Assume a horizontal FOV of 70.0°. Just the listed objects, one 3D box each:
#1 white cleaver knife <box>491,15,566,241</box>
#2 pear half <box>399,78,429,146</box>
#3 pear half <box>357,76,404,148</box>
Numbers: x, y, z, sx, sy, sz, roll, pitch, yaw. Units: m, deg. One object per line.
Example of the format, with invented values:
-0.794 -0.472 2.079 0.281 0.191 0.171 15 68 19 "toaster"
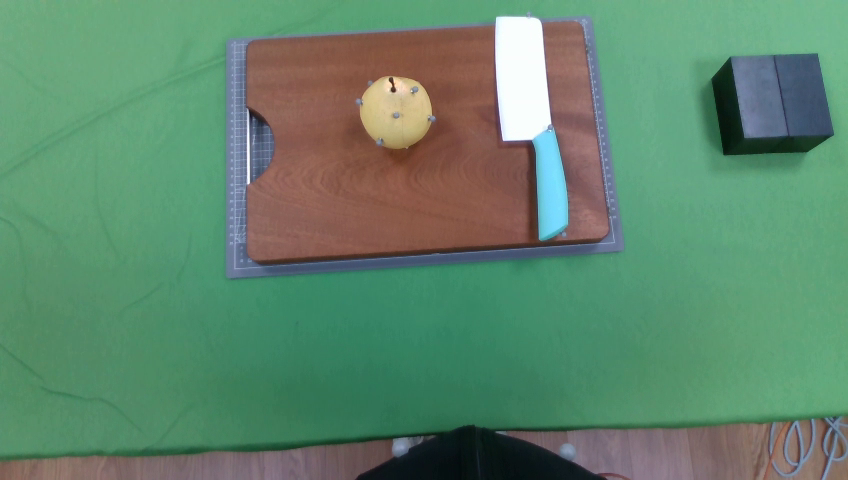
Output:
0.115 -0.134 0.690 0.066 0.022 0.284 -5 72 4 "white cleaver knife"
-0.010 -0.139 0.651 0.031 0.088 0.070 0 71 0 "pear half"
-0.045 -0.143 0.641 0.056 0.110 0.076 -1 72 1 "pear half"
